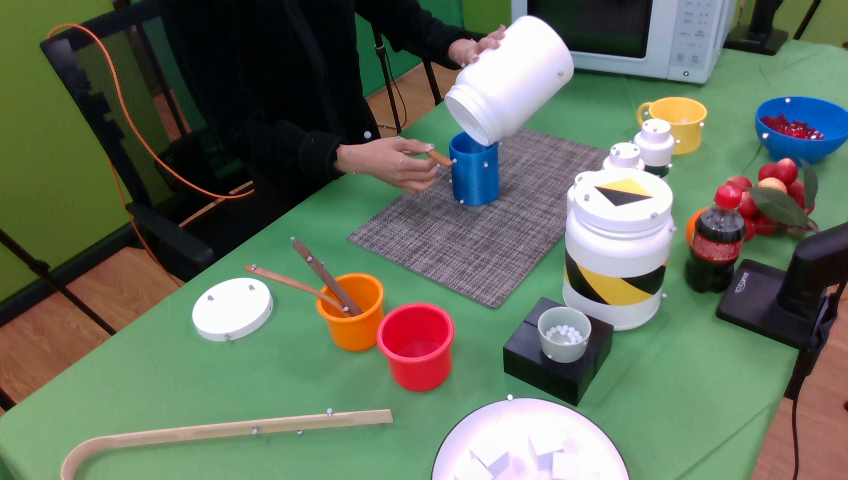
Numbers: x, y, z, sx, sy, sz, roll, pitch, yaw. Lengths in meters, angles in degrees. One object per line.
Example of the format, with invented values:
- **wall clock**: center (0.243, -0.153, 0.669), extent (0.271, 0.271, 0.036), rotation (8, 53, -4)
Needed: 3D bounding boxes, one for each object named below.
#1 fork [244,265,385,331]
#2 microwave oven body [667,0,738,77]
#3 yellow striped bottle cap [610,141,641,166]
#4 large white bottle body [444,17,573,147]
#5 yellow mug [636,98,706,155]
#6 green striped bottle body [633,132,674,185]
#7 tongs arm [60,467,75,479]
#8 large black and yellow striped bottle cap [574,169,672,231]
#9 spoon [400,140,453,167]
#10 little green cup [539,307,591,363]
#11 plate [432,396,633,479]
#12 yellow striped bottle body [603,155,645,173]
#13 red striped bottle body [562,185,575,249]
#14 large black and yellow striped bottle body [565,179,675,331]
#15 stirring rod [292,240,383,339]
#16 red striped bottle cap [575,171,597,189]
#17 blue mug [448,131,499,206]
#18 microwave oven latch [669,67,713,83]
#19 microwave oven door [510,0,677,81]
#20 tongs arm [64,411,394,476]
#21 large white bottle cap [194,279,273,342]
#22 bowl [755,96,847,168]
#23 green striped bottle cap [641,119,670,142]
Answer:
- **fork**: center (-0.142, 0.078, 0.806), extent (0.209, 0.018, 0.028), rotation (30, 33, -24)
- **microwave oven body**: center (0.462, -0.552, 1.369), extent (0.439, 0.261, 0.326), rotation (15, 45, 26)
- **yellow striped bottle cap**: center (0.308, -0.131, 0.925), extent (0.044, 0.019, 0.044), rotation (-4, 46, 5)
- **large white bottle body**: center (0.134, -0.252, 0.983), extent (0.184, 0.131, 0.129), rotation (-43, 47, -4)
- **yellow mug**: center (0.453, -0.217, 1.128), extent (0.100, 0.064, 0.129), rotation (-34, 46, -27)
- **green striped bottle body**: center (0.376, -0.135, 1.001), extent (0.063, 0.120, 0.063), rotation (-5, 40, 5)
- **tongs arm**: center (-0.239, 0.302, 0.649), extent (0.386, 0.028, 0.028), rotation (6, 49, 16)
- **large black and yellow striped bottle cap**: center (0.242, -0.051, 0.738), extent (0.115, 0.019, 0.114), rotation (-4, 37, 3)
- **spoon**: center (0.003, -0.139, 0.968), extent (0.042, 0.022, 0.192), rotation (-21, 21, -13)
- **little green cup**: center (0.167, 0.114, 0.721), extent (0.061, 0.039, 0.061), rotation (-4, 43, 4)
- **plate**: center (0.112, 0.261, 0.634), extent (0.209, 0.038, 0.208), rotation (-5, 40, 4)
- **yellow striped bottle body**: center (0.314, -0.091, 0.957), extent (0.063, 0.121, 0.062), rotation (-4, 40, 4)
- **red striped bottle body**: center (0.246, -0.041, 0.910), extent (0.063, 0.120, 0.063), rotation (0, 38, 0)
- **large black and yellow striped bottle body**: center (0.254, 0.014, 0.793), extent (0.131, 0.185, 0.130), rotation (-5, 40, 4)
- **stirring rod**: center (-0.118, 0.068, 0.825), extent (0.176, 0.006, 0.014), rotation (48, 59, -4)
- **red striped bottle cap**: center (0.242, -0.081, 0.876), extent (0.044, 0.018, 0.044), rotation (-5, 44, 5)
- **blue mug**: center (0.089, -0.134, 1.050), extent (0.082, 0.106, 0.116), rotation (2, 41, 11)
- **microwave oven latch**: center (0.556, -0.349, 1.261), extent (0.078, 0.029, 0.030), rotation (16, 46, 27)
- **microwave oven door**: center (0.354, -0.478, 1.290), extent (0.353, 0.245, 0.039), rotation (15, 45, 25)
- **tongs arm**: center (-0.228, 0.241, 0.715), extent (0.385, 0.026, 0.050), rotation (-5, 44, 4)
- **large white bottle cap**: center (-0.284, 0.103, 0.902), extent (0.115, 0.018, 0.114), rotation (-4, 40, 4)
- **bowl**: center (0.645, -0.177, 1.041), extent (0.151, 0.077, 0.150), rotation (-5, 40, 4)
- **green striped bottle cap**: center (0.371, -0.175, 0.968), extent (0.044, 0.020, 0.044), rotation (-4, 42, 4)
